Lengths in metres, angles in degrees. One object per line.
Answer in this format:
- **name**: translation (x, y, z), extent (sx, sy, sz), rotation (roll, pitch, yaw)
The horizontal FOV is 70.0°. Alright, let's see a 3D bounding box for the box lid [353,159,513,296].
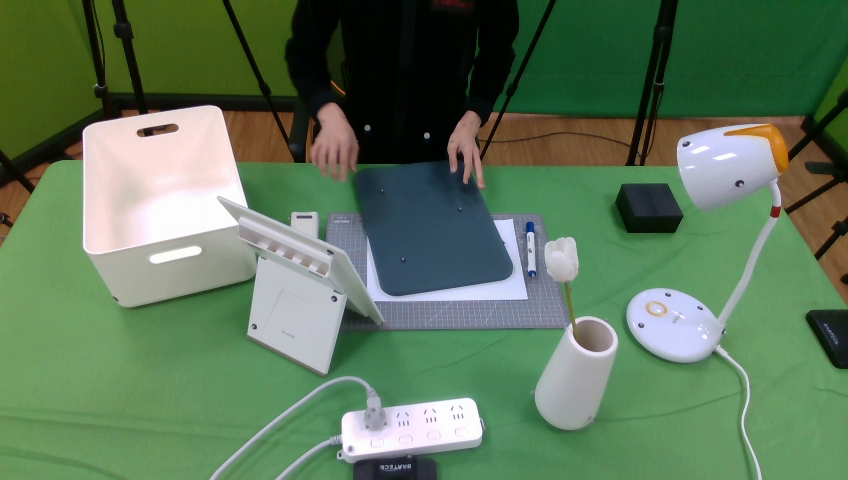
- **box lid**: translation (0.008, -0.039, 1.242), extent (0.264, 0.015, 0.369), rotation (-8, 47, -12)

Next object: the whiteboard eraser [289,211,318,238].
- **whiteboard eraser**: translation (-0.234, -0.007, 1.172), extent (0.055, 0.042, 0.112), rotation (-3, 46, -5)

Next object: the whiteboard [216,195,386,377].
- **whiteboard**: translation (-0.212, 0.093, 0.938), extent (0.216, 0.307, 0.143), rotation (24, 70, 17)

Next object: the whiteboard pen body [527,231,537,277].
- **whiteboard pen body**: translation (0.211, 0.018, 1.191), extent (0.017, 0.017, 0.140), rotation (6, 44, 2)

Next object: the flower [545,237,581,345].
- **flower**: translation (0.213, 0.137, 0.846), extent (0.038, 0.364, 0.044), rotation (21, 55, 40)

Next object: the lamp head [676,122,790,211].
- **lamp head**: translation (0.423, -0.104, 0.819), extent (0.122, 0.113, 0.112), rotation (-13, 33, 40)

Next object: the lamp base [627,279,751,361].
- **lamp base**: translation (0.460, 0.100, 1.027), extent (0.178, 0.181, 0.160), rotation (27, 51, 17)

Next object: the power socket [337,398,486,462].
- **power socket**: translation (-0.018, 0.285, 0.914), extent (0.227, 0.033, 0.071), rotation (-4, 46, -8)

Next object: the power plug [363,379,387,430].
- **power plug**: translation (-0.071, 0.252, 0.911), extent (0.035, 0.053, 0.072), rotation (3, 40, 0)

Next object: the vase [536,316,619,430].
- **vase**: translation (0.229, 0.200, 0.901), extent (0.098, 0.201, 0.097), rotation (3, 46, -3)

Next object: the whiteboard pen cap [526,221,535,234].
- **whiteboard pen cap**: translation (0.216, -0.022, 1.234), extent (0.018, 0.018, 0.033), rotation (6, 44, 1)

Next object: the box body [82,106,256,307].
- **box body**: translation (-0.471, -0.071, 1.131), extent (0.254, 0.161, 0.361), rotation (-14, 49, -17)
